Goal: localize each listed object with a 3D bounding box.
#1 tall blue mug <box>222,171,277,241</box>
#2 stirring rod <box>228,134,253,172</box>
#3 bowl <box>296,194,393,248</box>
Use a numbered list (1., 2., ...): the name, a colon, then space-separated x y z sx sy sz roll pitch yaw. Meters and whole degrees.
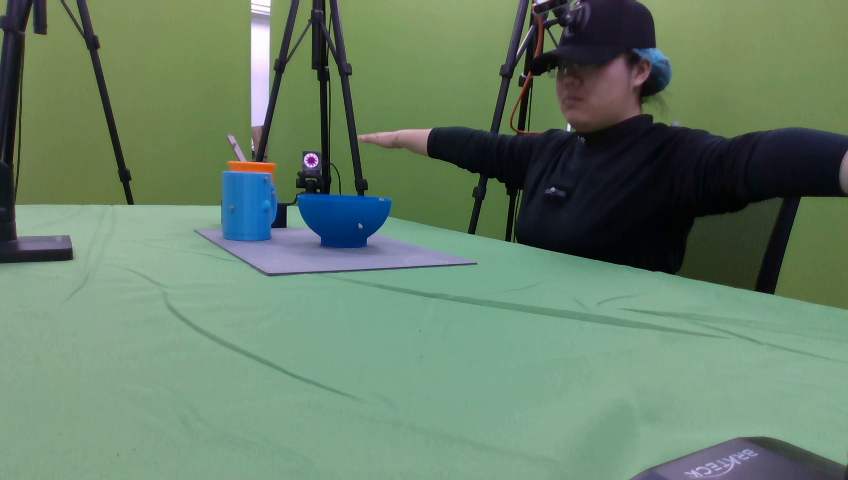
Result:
1. tall blue mug: -0.290 -0.059 1.003 0.078 0.108 0.107 1 7 -6
2. stirring rod: -0.353 -0.148 1.197 0.014 0.006 0.175 -4 52 -46
3. bowl: -0.128 -0.030 0.964 0.151 0.077 0.151 2 7 0
